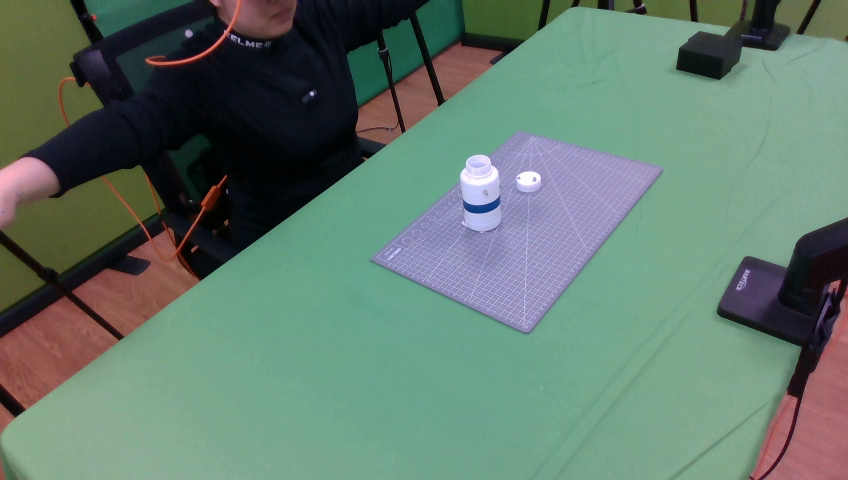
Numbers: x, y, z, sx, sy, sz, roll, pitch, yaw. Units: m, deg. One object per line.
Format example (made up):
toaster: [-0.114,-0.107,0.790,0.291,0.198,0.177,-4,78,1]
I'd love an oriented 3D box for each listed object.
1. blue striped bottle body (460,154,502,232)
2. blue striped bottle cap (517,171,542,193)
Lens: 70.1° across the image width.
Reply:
blue striped bottle body: [0.092,-0.078,0.976,0.063,0.121,0.063,-6,40,5]
blue striped bottle cap: [0.187,-0.103,1.072,0.044,0.021,0.044,-5,42,5]
